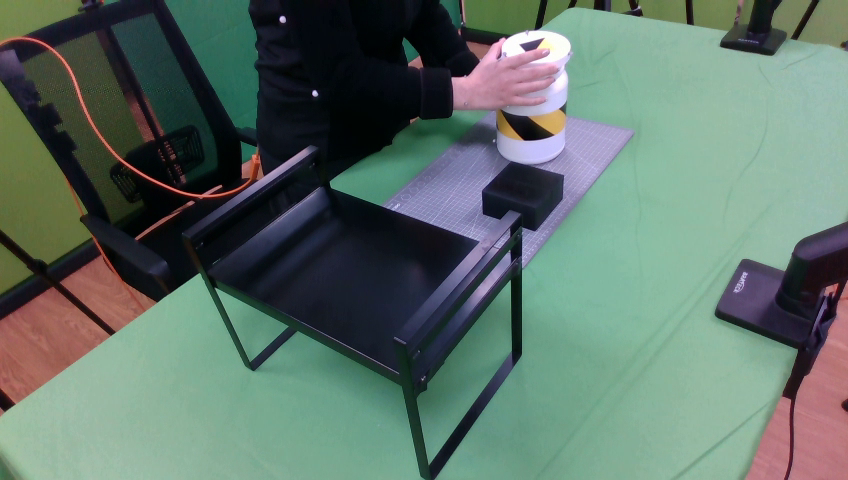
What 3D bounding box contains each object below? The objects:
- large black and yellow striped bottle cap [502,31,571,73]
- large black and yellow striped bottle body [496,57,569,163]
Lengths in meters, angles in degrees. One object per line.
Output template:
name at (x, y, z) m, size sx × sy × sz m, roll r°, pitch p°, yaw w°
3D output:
large black and yellow striped bottle cap at (0.190, -0.318, 1.020) m, size 0.115 × 0.019 × 0.114 m, roll -2°, pitch 46°, yaw 3°
large black and yellow striped bottle body at (0.198, -0.249, 1.107) m, size 0.131 × 0.185 × 0.130 m, roll -4°, pitch 40°, yaw 4°
